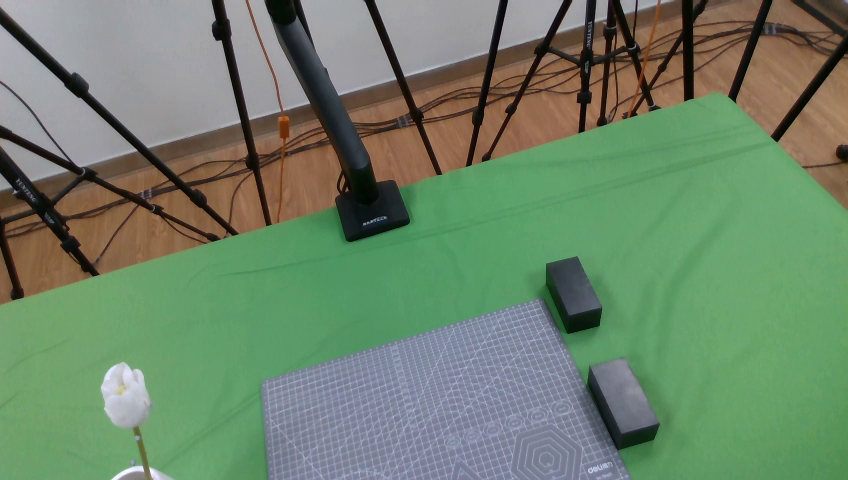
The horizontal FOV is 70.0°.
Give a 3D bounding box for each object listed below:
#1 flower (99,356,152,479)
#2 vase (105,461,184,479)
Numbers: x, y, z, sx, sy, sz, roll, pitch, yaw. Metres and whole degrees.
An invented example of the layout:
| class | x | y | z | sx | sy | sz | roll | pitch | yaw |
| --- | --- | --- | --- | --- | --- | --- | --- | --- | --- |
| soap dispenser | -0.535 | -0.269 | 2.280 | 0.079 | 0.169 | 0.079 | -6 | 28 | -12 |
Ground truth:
| class | x | y | z | sx | sy | sz | roll | pitch | yaw |
| --- | --- | --- | --- | --- | --- | --- | --- | --- | --- |
| flower | -0.288 | 0.259 | 0.643 | 0.038 | 0.364 | 0.043 | -18 | 42 | -29 |
| vase | -0.291 | 0.322 | 0.698 | 0.098 | 0.202 | 0.097 | -4 | 49 | 5 |
